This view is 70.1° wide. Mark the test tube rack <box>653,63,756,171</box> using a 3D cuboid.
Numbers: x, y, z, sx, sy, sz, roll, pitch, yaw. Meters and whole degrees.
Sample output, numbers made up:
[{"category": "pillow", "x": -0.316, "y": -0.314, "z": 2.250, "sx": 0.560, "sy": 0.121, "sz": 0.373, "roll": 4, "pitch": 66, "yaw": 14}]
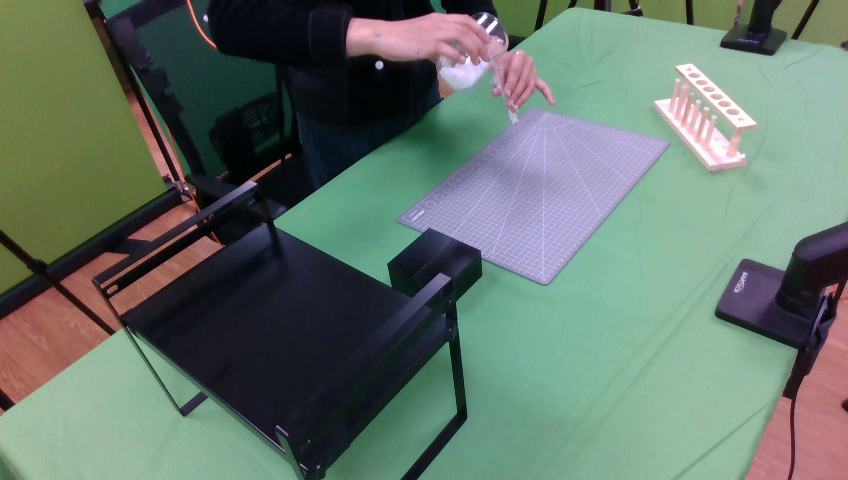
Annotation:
[{"category": "test tube rack", "x": 0.510, "y": -0.233, "z": 1.120, "sx": 0.067, "sy": 0.085, "sz": 0.241, "roll": -9, "pitch": 41, "yaw": -1}]

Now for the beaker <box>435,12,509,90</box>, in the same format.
[{"category": "beaker", "x": 0.071, "y": -0.278, "z": 0.904, "sx": 0.073, "sy": 0.084, "sz": 0.100, "roll": 25, "pitch": 62, "yaw": 27}]

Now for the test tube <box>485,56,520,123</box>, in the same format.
[{"category": "test tube", "x": 0.133, "y": -0.247, "z": 1.009, "sx": 0.017, "sy": 0.151, "sz": 0.017, "roll": -13, "pitch": 54, "yaw": 20}]
